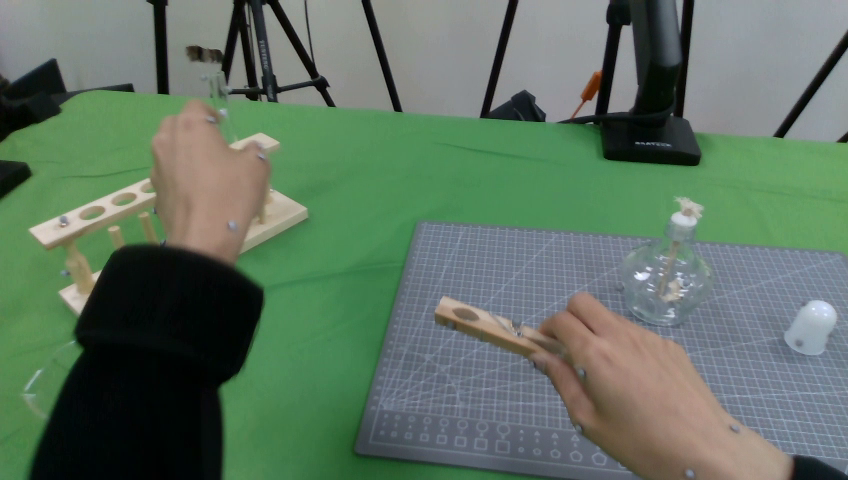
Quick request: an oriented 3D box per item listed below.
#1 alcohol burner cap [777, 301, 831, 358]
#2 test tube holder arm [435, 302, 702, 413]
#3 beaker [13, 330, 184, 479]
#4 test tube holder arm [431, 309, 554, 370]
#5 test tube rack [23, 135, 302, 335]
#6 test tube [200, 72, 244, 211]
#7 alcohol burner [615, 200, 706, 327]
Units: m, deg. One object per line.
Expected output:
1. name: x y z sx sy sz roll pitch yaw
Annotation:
1. alcohol burner cap: 0.327 0.074 0.517 0.034 0.048 0.033 0 36 1
2. test tube holder arm: 0.089 0.075 0.399 0.177 0.015 0.013 17 56 17
3. beaker: -0.211 0.123 0.407 0.084 0.101 0.073 -10 38 -12
4. test tube holder arm: 0.046 0.067 0.409 0.087 0.015 0.010 17 57 17
5. test tube rack: -0.242 -0.015 0.601 0.066 0.086 0.242 29 45 32
6. test tube: -0.207 -0.097 0.625 0.017 0.151 0.017 -1 32 1
7. alcohol burner: 0.211 0.017 0.532 0.078 0.120 0.077 0 35 0
